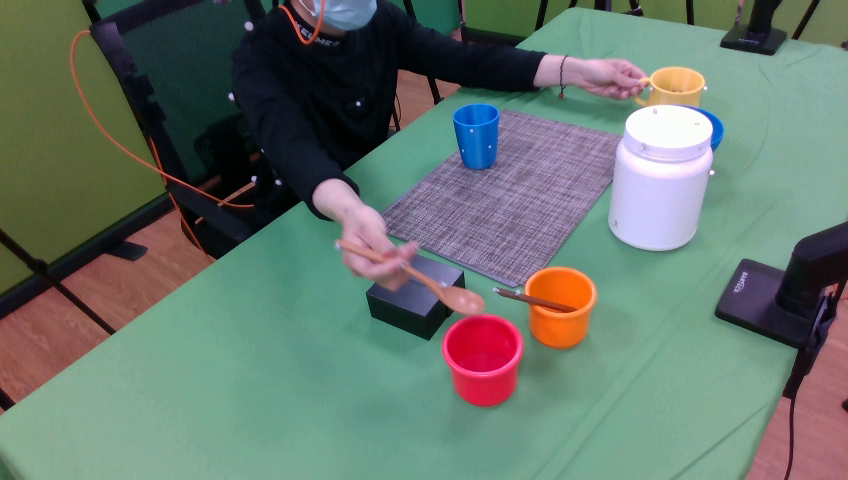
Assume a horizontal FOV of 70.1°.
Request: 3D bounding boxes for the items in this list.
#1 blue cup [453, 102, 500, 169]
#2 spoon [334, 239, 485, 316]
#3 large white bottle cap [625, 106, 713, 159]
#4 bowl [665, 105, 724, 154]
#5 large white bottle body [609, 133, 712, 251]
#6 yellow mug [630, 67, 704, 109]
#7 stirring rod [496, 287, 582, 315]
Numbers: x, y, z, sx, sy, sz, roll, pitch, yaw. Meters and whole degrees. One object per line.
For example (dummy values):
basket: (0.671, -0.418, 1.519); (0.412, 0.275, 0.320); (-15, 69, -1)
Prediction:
blue cup: (0.099, -0.188, 1.114); (0.092, 0.100, 0.092); (-4, 39, 4)
spoon: (-0.013, 0.040, 0.691); (0.195, 0.021, 0.041); (29, 38, -20)
large white bottle cap: (0.342, -0.153, 0.848); (0.115, 0.018, 0.114); (-4, 41, 4)
bowl: (0.438, -0.166, 1.063); (0.151, 0.077, 0.150); (-4, 41, 4)
large white bottle body: (0.351, -0.090, 0.904); (0.130, 0.185, 0.130); (-5, 41, 4)
yellow mug: (0.471, -0.287, 1.183); (0.130, 0.064, 0.100); (11, 47, 20)
stirring rod: (0.150, 0.080, 0.773); (0.178, 0.006, 0.014); (17, 21, -42)
